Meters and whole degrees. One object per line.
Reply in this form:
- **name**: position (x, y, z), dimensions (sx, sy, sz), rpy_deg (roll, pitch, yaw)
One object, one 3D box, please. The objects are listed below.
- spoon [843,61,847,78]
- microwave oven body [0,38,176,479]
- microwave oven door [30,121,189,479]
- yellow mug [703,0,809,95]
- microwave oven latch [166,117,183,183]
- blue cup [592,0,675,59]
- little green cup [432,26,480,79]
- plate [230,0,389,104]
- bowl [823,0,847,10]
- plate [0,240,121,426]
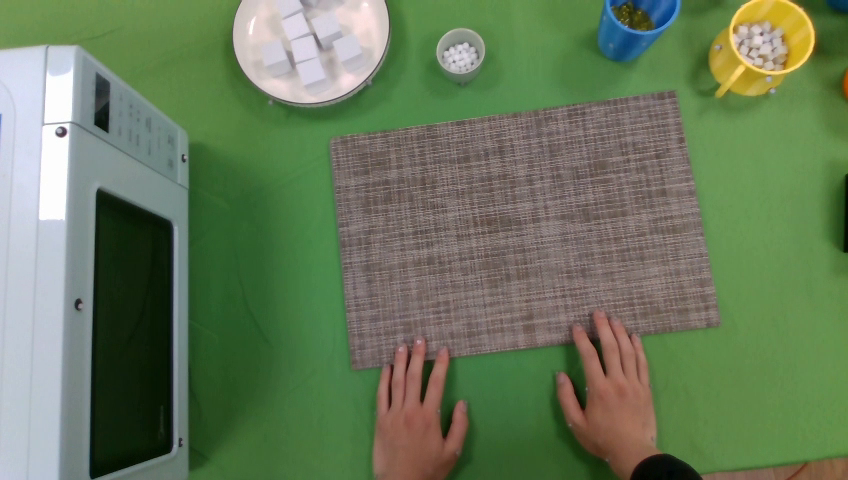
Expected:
- **spoon**: position (0.583, -0.186, 0.691), dimensions (0.041, 0.191, 0.022), rpy_deg (-49, 125, -4)
- **microwave oven body**: position (-0.463, 0.056, 0.648), dimensions (0.326, 0.261, 0.440), rpy_deg (-4, 81, 2)
- **microwave oven door**: position (-0.315, 0.086, 0.631), dimensions (0.039, 0.244, 0.354), rpy_deg (-5, 81, 3)
- **yellow mug**: position (0.398, -0.231, 0.750), dimensions (0.099, 0.064, 0.131), rpy_deg (41, 86, 8)
- **microwave oven latch**: position (-0.321, -0.113, 0.765), dimensions (0.030, 0.029, 0.079), rpy_deg (-2, 82, 2)
- **blue cup**: position (0.248, -0.272, 0.746), dimensions (0.092, 0.100, 0.092), rpy_deg (0, 82, 3)
- **little green cup**: position (0.042, -0.240, 0.784), dimensions (0.061, 0.039, 0.061), rpy_deg (-1, 81, 4)
- **plate**: position (-0.148, -0.275, 0.800), dimensions (0.207, 0.039, 0.207), rpy_deg (0, 81, 3)
- **bowl**: position (0.545, -0.343, 0.753), dimensions (0.151, 0.077, 0.151), rpy_deg (0, 82, 4)
- **plate**: position (-0.446, 0.104, 0.692), dimensions (0.209, 0.038, 0.208), rpy_deg (0, 81, 2)
